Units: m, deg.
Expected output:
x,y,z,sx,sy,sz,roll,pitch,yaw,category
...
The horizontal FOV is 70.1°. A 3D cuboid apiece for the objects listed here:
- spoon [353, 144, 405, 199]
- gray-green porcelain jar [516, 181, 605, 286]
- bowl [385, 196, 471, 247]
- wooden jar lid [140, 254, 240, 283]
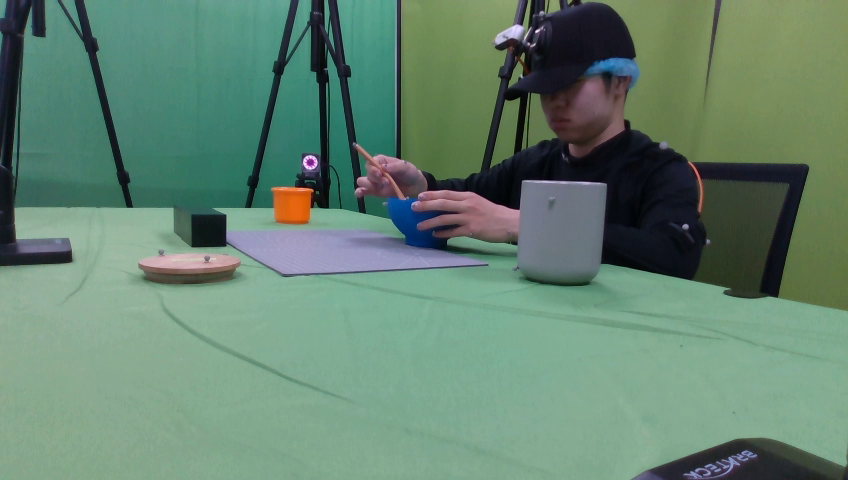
x,y,z,sx,sy,sz,roll,pitch,yaw,category
-0.060,-0.101,1.058,0.021,0.193,0.042,-42,-11,17,spoon
0.172,-0.010,0.768,0.106,0.126,0.106,2,7,0,gray-green porcelain jar
0.004,-0.030,1.046,0.151,0.077,0.151,5,5,0,bowl
-0.269,0.032,0.698,0.108,0.020,0.108,2,5,0,wooden jar lid
